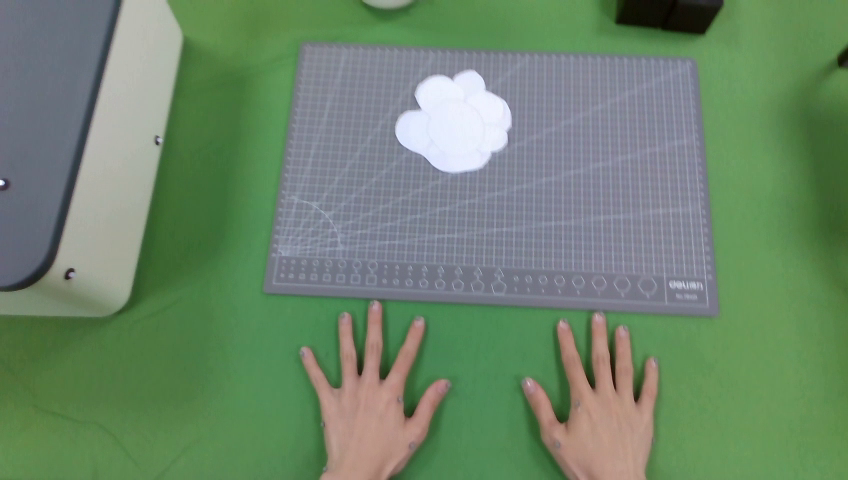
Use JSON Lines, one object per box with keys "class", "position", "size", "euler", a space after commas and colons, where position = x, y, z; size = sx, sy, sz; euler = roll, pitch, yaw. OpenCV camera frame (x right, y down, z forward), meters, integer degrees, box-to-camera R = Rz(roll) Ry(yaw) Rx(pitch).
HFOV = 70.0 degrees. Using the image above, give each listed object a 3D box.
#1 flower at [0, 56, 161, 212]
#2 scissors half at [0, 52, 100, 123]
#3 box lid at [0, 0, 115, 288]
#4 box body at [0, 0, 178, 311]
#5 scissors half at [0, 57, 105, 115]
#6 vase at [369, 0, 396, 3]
{"class": "flower", "position": [-0.401, -0.095, 0.662], "size": [0.038, 0.044, 0.359], "euler": [-1, 47, 35]}
{"class": "scissors half", "position": [-0.434, -0.151, 0.668], "size": [0.175, 0.040, 0.012], "euler": [-30, 36, -1]}
{"class": "box lid", "position": [-0.406, -0.143, 0.509], "size": [0.263, 0.015, 0.369], "euler": [2, 72, 0]}
{"class": "box body", "position": [-0.404, -0.117, 0.581], "size": [0.254, 0.161, 0.361], "euler": [1, 72, 2]}
{"class": "scissors half", "position": [-0.439, -0.160, 0.659], "size": [0.175, 0.040, 0.012], "euler": [-23, 41, -8]}
{"class": "vase", "position": [-0.051, -0.346, 0.630], "size": [0.098, 0.201, 0.097], "euler": [-1, 71, 2]}
